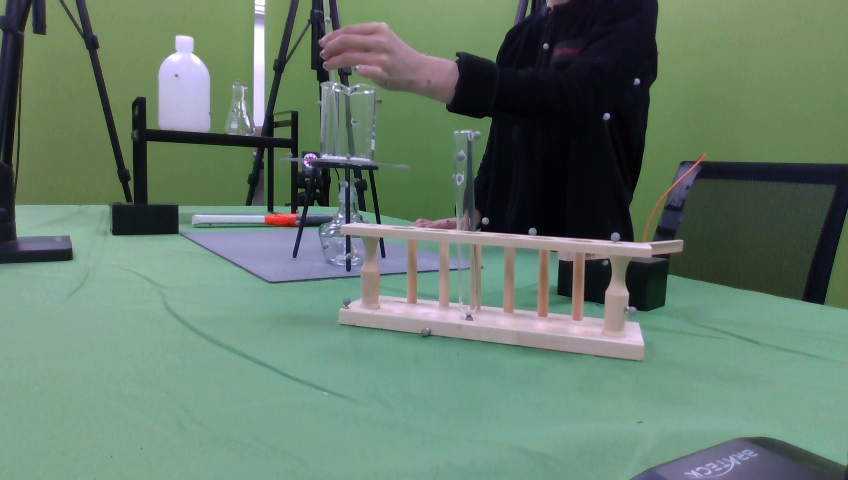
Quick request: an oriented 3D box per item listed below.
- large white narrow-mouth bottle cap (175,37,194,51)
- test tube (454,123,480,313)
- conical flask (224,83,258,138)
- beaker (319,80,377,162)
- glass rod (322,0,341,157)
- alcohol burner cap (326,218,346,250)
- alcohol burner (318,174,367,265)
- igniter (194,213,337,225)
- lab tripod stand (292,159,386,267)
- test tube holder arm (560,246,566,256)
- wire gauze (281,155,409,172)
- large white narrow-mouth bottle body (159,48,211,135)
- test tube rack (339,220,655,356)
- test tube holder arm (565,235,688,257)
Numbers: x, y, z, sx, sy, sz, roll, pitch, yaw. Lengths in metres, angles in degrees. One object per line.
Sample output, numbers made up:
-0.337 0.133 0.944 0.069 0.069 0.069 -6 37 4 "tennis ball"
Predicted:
-0.501 -0.409 1.264 0.038 0.024 0.037 2 7 0 "large white narrow-mouth bottle cap"
0.034 -0.016 0.476 0.017 0.150 0.017 -3 9 1 "test tube"
-0.422 -0.299 1.395 0.075 0.122 0.075 2 7 0 "conical flask"
-0.098 -0.150 0.777 0.074 0.100 0.084 1 7 -7 "beaker"
-0.116 -0.203 0.759 0.008 0.199 0.008 -3 14 1 "glass rod"
-0.132 -0.010 0.927 0.034 0.048 0.034 3 8 0 "alcohol burner cap"
-0.100 -0.028 0.790 0.078 0.119 0.078 0 6 0 "alcohol burner"
-0.306 -0.042 1.196 0.278 0.025 0.057 -2 -2 -31 "igniter"
-0.105 -0.039 0.797 0.148 0.131 0.148 2 5 0 "lab tripod stand"
0.173 0.007 0.611 0.088 0.015 0.010 -3 10 -29 "test tube holder arm"
-0.104 -0.103 0.785 0.126 0.011 0.121 1 8 -38 "wire gauze"
-0.503 -0.322 1.275 0.102 0.194 0.102 2 7 0 "large white narrow-mouth bottle body"
0.056 0.032 0.495 0.242 0.085 0.067 4 7 15 "test tube rack"
0.215 0.006 0.629 0.179 0.015 0.013 -3 10 -30 "test tube holder arm"
